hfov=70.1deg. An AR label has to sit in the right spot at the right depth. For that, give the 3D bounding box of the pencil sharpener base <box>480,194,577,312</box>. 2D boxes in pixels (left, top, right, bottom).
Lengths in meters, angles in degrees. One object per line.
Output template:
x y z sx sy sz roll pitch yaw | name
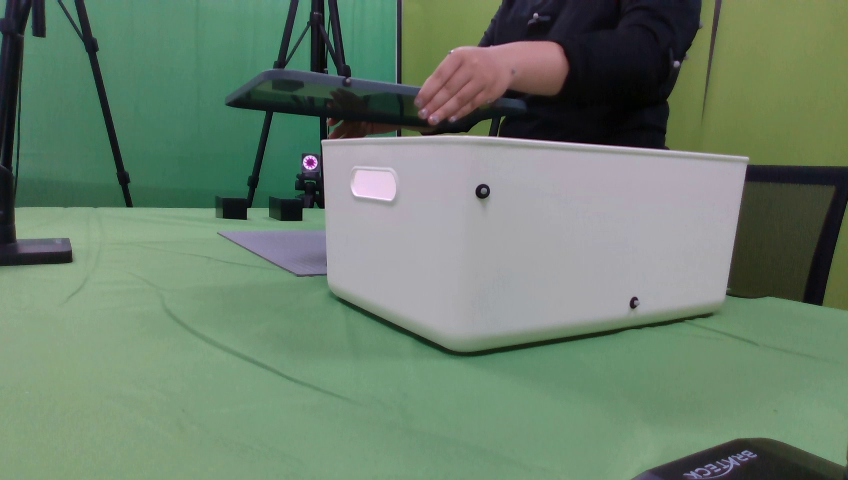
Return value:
0.103 0.011 0.591 0.077 0.107 0.061 -1 7 -33 | pencil sharpener base

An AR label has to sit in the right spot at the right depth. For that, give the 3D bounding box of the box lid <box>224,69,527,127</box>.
-0.072 -0.188 0.846 0.373 0.015 0.262 0 4 -29 | box lid

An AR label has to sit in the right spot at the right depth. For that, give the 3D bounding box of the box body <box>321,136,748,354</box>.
0.105 -0.012 0.603 0.366 0.160 0.253 -2 8 -33 | box body

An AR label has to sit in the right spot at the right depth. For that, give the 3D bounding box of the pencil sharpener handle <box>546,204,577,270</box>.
0.146 -0.003 0.618 0.031 0.067 0.036 -1 12 -33 | pencil sharpener handle
